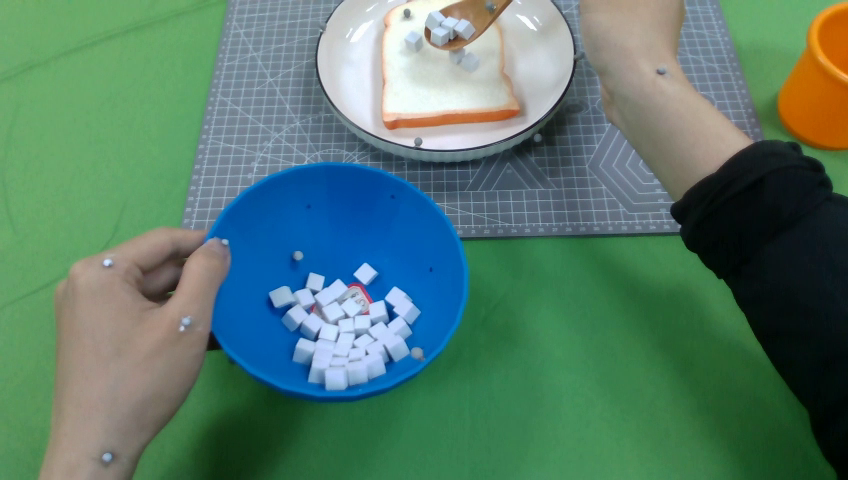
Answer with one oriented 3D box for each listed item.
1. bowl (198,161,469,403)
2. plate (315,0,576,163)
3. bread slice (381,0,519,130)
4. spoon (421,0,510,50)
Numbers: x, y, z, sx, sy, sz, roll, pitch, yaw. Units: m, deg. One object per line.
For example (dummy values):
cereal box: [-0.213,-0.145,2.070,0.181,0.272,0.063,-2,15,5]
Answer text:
bowl: [-0.053,0.034,0.372,0.152,0.077,0.150,5,59,-8]
plate: [0.016,-0.146,0.500,0.209,0.038,0.207,-1,62,2]
bread slice: [0.013,-0.149,0.505,0.107,0.018,0.133,-8,64,-1]
spoon: [0.080,-0.185,0.427,0.193,0.022,0.041,-20,66,33]
